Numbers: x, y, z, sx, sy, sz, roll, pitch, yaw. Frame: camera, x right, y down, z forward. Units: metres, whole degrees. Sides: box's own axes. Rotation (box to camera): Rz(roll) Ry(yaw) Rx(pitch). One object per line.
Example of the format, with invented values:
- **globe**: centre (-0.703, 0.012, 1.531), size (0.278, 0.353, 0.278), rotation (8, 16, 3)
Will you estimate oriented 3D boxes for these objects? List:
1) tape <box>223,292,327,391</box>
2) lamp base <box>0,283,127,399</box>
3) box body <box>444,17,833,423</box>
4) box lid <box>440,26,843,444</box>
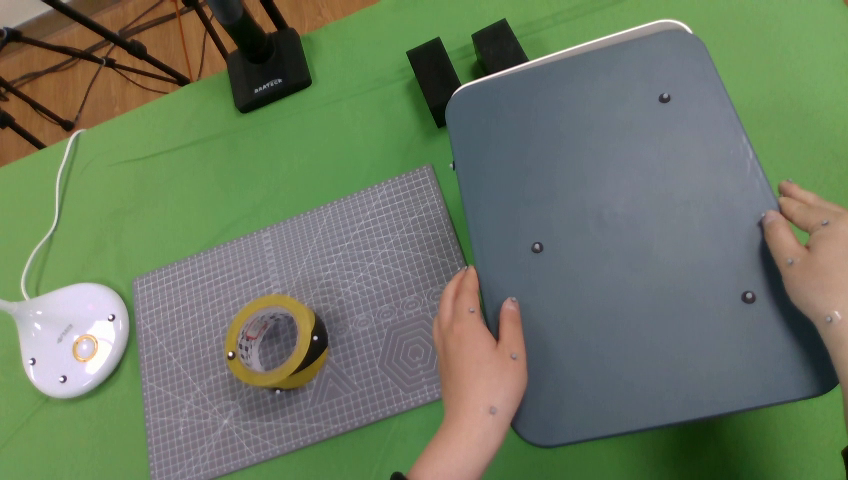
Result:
- **tape**: centre (-0.182, 0.123, 0.737), size (0.116, 0.053, 0.116), rotation (-5, 68, 12)
- **lamp base**: centre (-0.508, 0.105, 0.761), size (0.178, 0.182, 0.160), rotation (17, 74, 23)
- **box body**: centre (0.191, -0.012, 0.632), size (0.254, 0.162, 0.361), rotation (-17, 66, 8)
- **box lid**: centre (0.166, -0.027, 0.543), size (0.263, 0.015, 0.368), rotation (-14, 64, 8)
